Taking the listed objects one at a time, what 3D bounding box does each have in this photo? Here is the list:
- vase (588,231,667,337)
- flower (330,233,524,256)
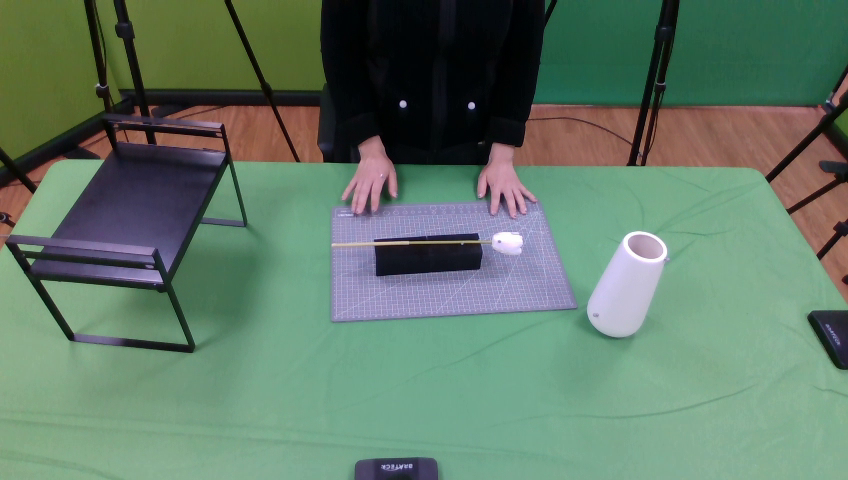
[{"bbox_3d":[0.343,0.078,1.023,0.098,0.201,0.097,2,47,-2],"label":"vase"},{"bbox_3d":[0.009,0.002,1.126,0.362,0.038,0.044,2,80,-7],"label":"flower"}]
